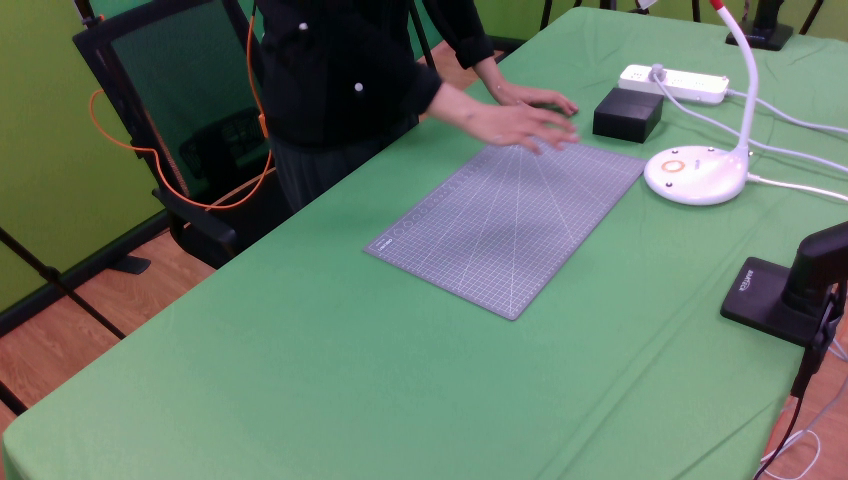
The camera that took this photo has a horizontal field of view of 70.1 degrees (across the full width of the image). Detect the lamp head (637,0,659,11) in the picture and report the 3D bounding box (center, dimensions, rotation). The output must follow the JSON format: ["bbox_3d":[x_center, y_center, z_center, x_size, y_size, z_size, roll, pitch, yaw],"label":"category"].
[{"bbox_3d":[0.330,-0.391,0.827,0.122,0.113,0.112,-21,35,25],"label":"lamp head"}]

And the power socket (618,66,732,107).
[{"bbox_3d":[0.517,-0.322,1.259,0.225,0.033,0.072,19,49,29],"label":"power socket"}]

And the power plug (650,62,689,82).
[{"bbox_3d":[0.504,-0.340,1.248,0.072,0.053,0.035,8,59,12],"label":"power plug"}]

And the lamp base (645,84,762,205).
[{"bbox_3d":[0.461,-0.170,0.975,0.179,0.181,0.160,3,41,11],"label":"lamp base"}]
